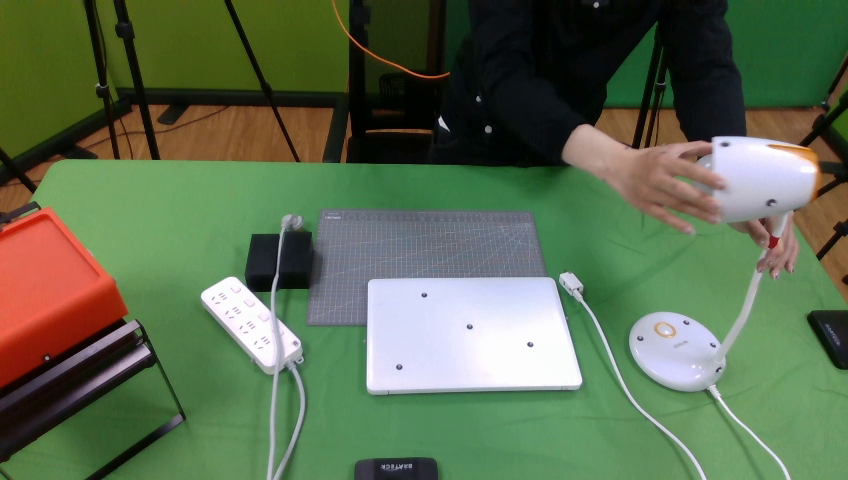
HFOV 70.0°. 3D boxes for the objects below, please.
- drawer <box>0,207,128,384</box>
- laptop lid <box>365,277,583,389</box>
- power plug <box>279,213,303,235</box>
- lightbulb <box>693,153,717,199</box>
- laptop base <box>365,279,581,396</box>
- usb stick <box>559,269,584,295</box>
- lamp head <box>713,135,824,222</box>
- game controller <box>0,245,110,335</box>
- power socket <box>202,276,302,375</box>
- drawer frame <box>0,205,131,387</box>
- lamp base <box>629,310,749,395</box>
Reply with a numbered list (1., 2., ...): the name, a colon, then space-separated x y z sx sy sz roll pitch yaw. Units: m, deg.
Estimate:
1. drawer: -0.540 0.074 0.799 0.193 0.073 0.211 37 55 27
2. laptop lid: 0.077 0.152 1.046 0.357 0.013 0.240 1 45 -3
3. power plug: -0.263 -0.022 1.184 0.035 0.053 0.072 0 47 32
4. lightbulb: 0.397 -0.081 0.764 0.107 0.060 0.059 3 40 35
5. laptop base: 0.077 0.162 1.053 0.355 0.023 0.234 0 44 -4
6. usb stick: 0.274 0.077 1.142 0.027 0.021 0.059 -11 39 -14
7. lamp head: 0.422 -0.073 0.751 0.122 0.113 0.112 6 45 20
8. game controller: -0.511 0.062 0.830 0.097 0.052 0.154 -30 58 -31
9. power socket: -0.296 0.142 1.034 0.072 0.033 0.225 -34 58 -30
10. drawer frame: -0.540 0.075 0.795 0.200 0.083 0.213 36 54 26
11. lamp base: 0.447 0.142 0.984 0.161 0.181 0.178 -24 55 -24
